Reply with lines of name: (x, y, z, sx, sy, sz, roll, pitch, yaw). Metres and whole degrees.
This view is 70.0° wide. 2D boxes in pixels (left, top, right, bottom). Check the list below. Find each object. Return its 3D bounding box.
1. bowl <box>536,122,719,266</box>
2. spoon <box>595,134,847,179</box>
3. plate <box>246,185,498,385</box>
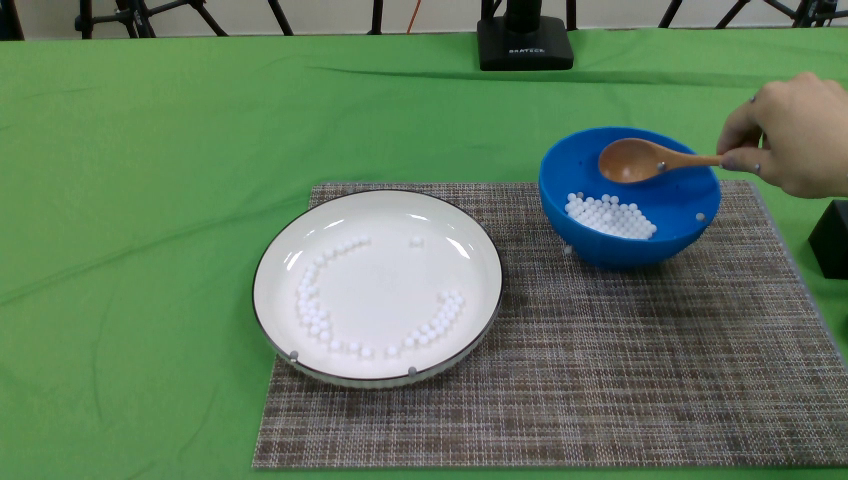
bowl: (0.172, -0.029, 0.542, 0.151, 0.077, 0.150, 0, 47, 1)
spoon: (0.233, -0.068, 0.498, 0.192, 0.042, 0.022, 8, 22, 44)
plate: (-0.042, 0.036, 0.515, 0.208, 0.039, 0.205, 0, 47, 1)
